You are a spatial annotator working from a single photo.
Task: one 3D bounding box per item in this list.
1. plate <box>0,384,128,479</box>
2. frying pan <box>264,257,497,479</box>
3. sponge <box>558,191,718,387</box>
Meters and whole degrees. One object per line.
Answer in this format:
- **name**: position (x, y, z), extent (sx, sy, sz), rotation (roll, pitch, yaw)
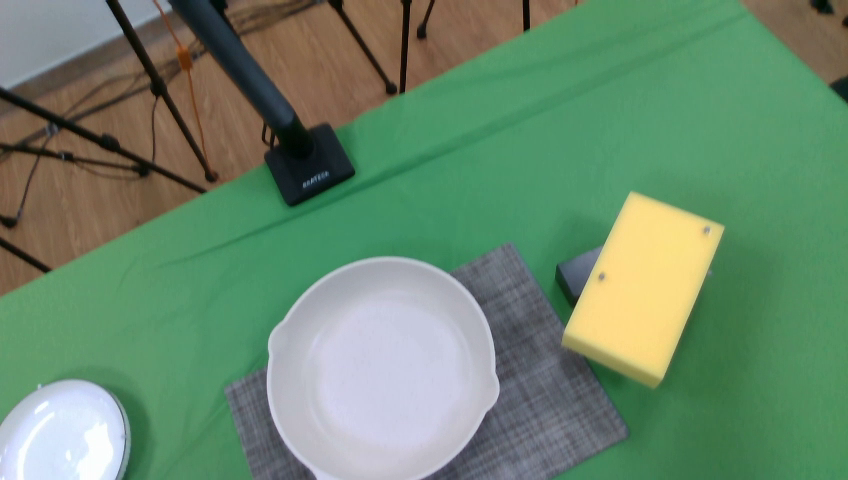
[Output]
- **plate**: position (-0.495, 0.302, 0.820), extent (0.207, 0.039, 0.206), rotation (-3, 66, 7)
- **frying pan**: position (-0.087, 0.253, 0.734), extent (0.305, 0.104, 0.485), rotation (11, 61, 15)
- **sponge**: position (0.259, 0.056, 0.737), extent (0.117, 0.061, 0.206), rotation (23, 72, 18)
